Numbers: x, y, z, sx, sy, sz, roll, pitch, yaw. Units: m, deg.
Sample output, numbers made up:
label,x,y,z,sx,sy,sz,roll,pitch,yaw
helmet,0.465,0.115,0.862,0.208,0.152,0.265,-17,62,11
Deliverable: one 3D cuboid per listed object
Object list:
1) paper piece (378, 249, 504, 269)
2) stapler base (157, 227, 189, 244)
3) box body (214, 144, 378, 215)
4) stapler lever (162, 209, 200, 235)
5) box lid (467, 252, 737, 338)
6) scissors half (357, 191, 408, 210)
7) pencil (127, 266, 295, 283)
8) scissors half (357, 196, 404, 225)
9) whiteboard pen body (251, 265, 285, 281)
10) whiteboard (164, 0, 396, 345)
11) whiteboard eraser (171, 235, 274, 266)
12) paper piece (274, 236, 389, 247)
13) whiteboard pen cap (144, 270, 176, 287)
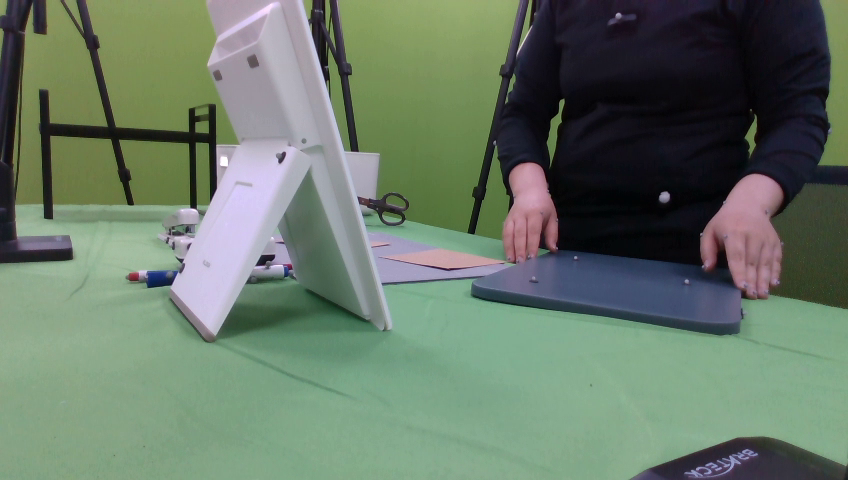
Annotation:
label,x,y,z,sx,sy,sz,roll,pitch,yaw
paper piece,0.026,0.026,0.865,0.134,0.004,0.136,9,9,43
stapler base,-0.376,-0.007,0.935,0.041,0.024,0.130,1,5,-38
box body,-0.328,-0.154,1.543,0.366,0.160,0.253,-2,9,-32
stapler lever,-0.376,-0.031,0.933,0.027,0.040,0.117,0,7,-38
box lid,0.234,0.054,0.736,0.262,0.015,0.373,7,8,27
scissors half,-0.122,-0.092,1.318,0.175,0.040,0.013,5,13,-3
pencil,-0.231,0.037,0.690,0.195,0.012,0.012,-2,9,-34
scissors half,-0.127,-0.072,1.321,0.175,0.040,0.013,22,6,-5
whiteboard pen body,-0.220,0.039,0.656,0.141,0.017,0.017,-2,9,-31
whiteboard,-0.172,-0.053,0.511,0.144,0.305,0.216,-23,20,-26
whiteboard eraser,-0.248,0.014,0.747,0.113,0.042,0.055,-1,10,-32
paper piece,-0.151,0.003,0.978,0.135,0.008,0.139,13,10,35
whiteboard pen cap,-0.271,0.039,0.627,0.033,0.018,0.018,-3,10,-32
